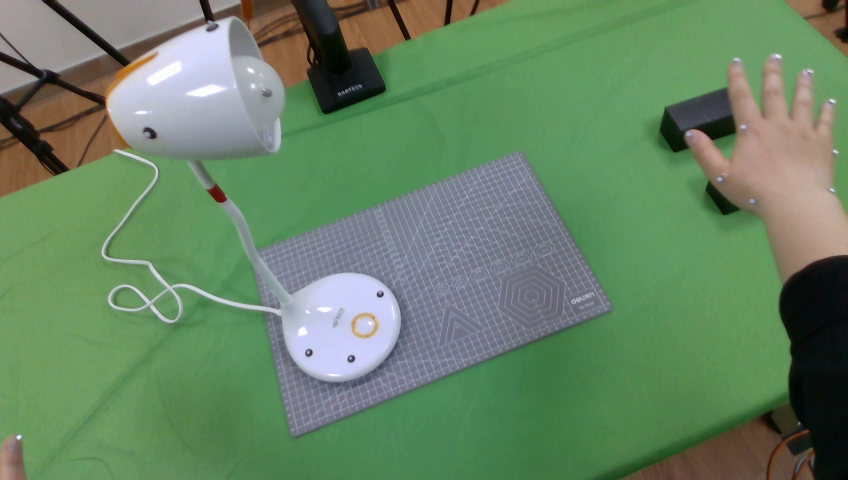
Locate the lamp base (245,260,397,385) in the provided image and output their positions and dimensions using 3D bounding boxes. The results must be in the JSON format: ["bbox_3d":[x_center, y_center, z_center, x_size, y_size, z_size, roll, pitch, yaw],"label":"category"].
[{"bbox_3d":[-0.141,0.081,0.765,0.179,0.182,0.159,0,60,14],"label":"lamp base"}]

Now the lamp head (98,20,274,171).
[{"bbox_3d":[-0.197,-0.108,0.502,0.123,0.113,0.111,-17,59,6],"label":"lamp head"}]
